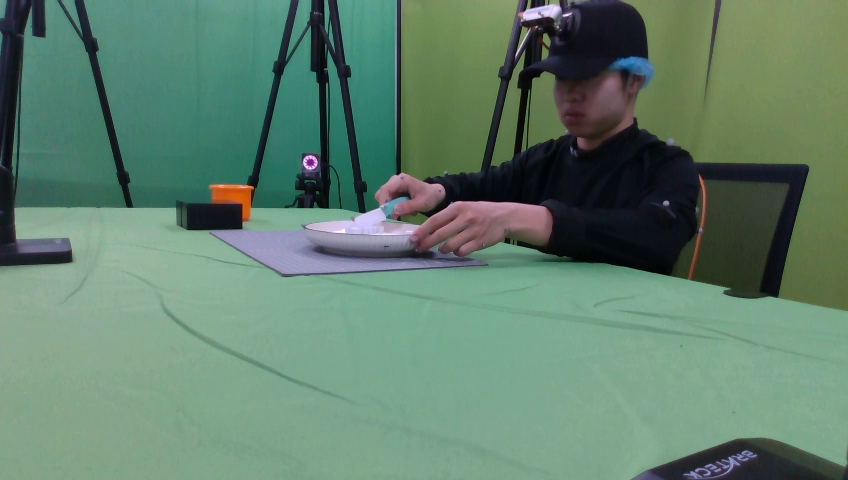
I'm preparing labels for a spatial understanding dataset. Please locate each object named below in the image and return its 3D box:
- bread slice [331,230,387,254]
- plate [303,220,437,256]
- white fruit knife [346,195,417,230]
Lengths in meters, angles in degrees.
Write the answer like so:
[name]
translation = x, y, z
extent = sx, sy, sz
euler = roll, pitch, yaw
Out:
[bread slice]
translation = -0.088, 0.001, 0.947
extent = 0.105, 0.019, 0.131
euler = -4, 11, -45
[plate]
translation = -0.084, -0.003, 0.951
extent = 0.209, 0.038, 0.209
euler = 3, 7, 0
[white fruit knife]
translation = -0.066, -0.046, 0.996
extent = 0.016, 0.027, 0.208
euler = -7, 12, 31
